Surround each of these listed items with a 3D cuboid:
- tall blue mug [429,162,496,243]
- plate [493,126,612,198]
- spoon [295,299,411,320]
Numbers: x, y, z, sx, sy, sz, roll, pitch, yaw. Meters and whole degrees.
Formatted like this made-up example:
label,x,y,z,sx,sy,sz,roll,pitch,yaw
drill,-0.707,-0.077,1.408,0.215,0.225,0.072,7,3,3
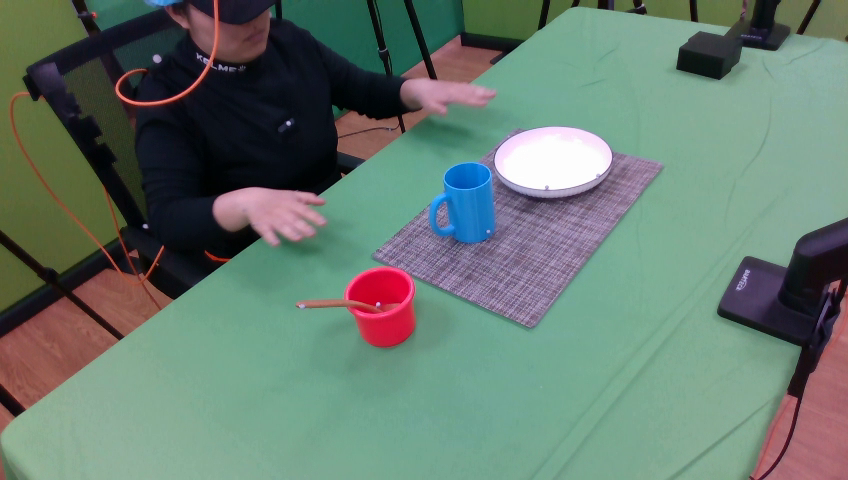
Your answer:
label,x,y,z,sx,sy,sz,roll,pitch,yaw
tall blue mug,0.067,-0.051,0.960,0.077,0.108,0.107,17,47,27
plate,0.229,-0.136,1.085,0.207,0.039,0.206,-5,40,5
spoon,-0.090,0.089,0.805,0.195,0.021,0.041,15,13,-47
